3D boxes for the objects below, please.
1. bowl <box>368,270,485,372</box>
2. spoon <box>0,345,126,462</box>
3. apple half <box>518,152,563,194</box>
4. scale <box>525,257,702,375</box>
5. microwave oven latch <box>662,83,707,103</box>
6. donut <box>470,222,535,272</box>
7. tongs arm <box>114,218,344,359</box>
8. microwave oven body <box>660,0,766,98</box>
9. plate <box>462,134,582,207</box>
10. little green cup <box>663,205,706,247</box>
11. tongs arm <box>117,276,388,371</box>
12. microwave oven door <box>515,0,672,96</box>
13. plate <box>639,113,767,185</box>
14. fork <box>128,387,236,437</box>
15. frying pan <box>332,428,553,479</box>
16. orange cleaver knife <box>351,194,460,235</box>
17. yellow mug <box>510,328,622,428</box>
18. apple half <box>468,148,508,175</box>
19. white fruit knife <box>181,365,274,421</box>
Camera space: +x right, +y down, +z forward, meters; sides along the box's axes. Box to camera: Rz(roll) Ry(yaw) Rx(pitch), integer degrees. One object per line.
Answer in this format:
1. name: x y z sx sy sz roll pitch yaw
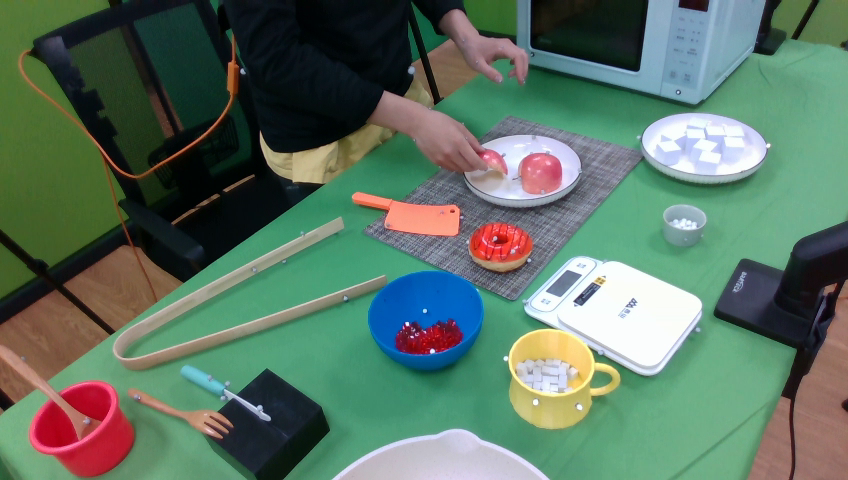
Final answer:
1. bowl: 0.007 0.118 0.791 0.151 0.077 0.150 -4 40 4
2. spoon: -0.434 0.192 0.720 0.194 0.021 0.042 47 53 -6
3. apple half: 0.203 -0.124 1.047 0.074 0.053 0.080 -1 41 3
4. scale: 0.254 0.091 0.821 0.199 0.032 0.149 28 51 35
5. microwave oven latch: 0.517 -0.296 1.204 0.078 0.029 0.030 27 52 35
6. donut: 0.119 0.009 0.923 0.099 0.048 0.098 -4 38 3
7. tongs arm: -0.280 0.068 0.927 0.386 0.026 0.050 -29 50 -23
8. microwave oven body: 0.472 -0.513 1.317 0.438 0.261 0.327 26 51 34
9. plate: 0.173 -0.119 1.070 0.209 0.038 0.208 -4 40 4
10. little green cup: 0.396 -0.020 0.926 0.061 0.039 0.061 -4 40 4
11. tongs arm: -0.236 0.118 0.871 0.389 0.028 0.028 -17 50 -13
12. microwave oven door: 0.343 -0.454 1.259 0.353 0.245 0.039 26 51 33
13. plate: 0.489 -0.157 1.074 0.207 0.039 0.206 -4 40 4
14. fork: -0.305 0.207 0.744 0.206 0.019 0.028 3 41 36
15. frying pan: -0.089 0.306 0.564 0.487 0.103 0.306 10 41 7
16. orange cleaver knife: -0.036 -0.044 1.029 0.210 0.012 0.077 10 48 18
17. yellow mug: 0.169 0.164 0.722 0.130 0.064 0.099 0 40 8
18. apple half: 0.121 -0.143 1.064 0.081 0.033 0.081 23 6 -2
19. white fruit knife: -0.245 0.187 0.747 0.205 0.027 0.016 9 41 40
